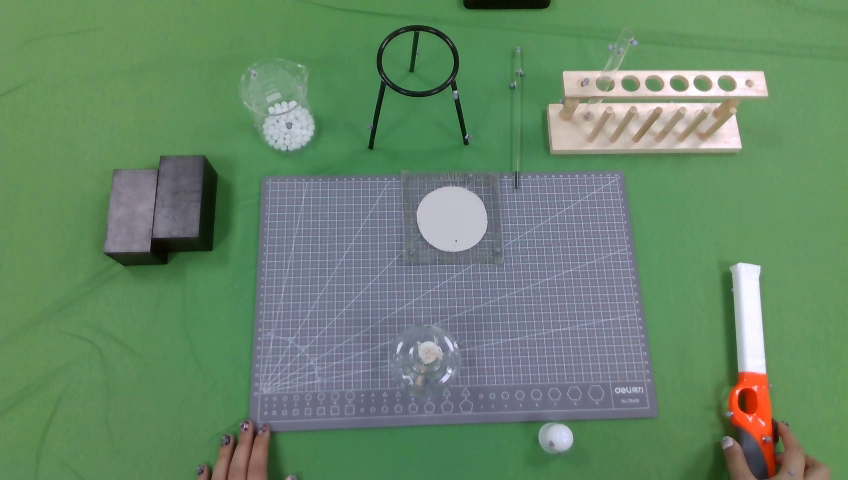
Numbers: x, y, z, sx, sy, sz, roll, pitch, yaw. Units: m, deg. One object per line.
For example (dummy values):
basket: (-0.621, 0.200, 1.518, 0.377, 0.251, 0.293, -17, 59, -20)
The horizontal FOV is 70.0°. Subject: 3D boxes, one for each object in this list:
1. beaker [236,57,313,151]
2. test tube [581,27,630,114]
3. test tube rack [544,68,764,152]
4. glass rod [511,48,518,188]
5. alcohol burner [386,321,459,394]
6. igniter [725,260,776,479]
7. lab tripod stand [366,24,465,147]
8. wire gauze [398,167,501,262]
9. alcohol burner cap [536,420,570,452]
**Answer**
beaker: (-0.170, -0.158, 0.718, 0.084, 0.101, 0.073, -39, 78, -14)
test tube: (0.207, -0.191, 0.702, 0.017, 0.151, 0.017, 0, 69, -1)
test tube rack: (0.279, -0.158, 0.746, 0.242, 0.085, 0.066, -1, 72, -3)
glass rod: (0.116, -0.160, 0.778, 0.008, 0.008, 0.198, 4, 74, -2)
alcohol burner: (-0.001, 0.120, 0.630, 0.078, 0.119, 0.077, 1, 71, -4)
igniter: (0.365, 0.157, 0.683, 0.057, 0.025, 0.275, 9, 73, -9)
lab tripod stand: (-0.013, -0.180, 0.714, 0.148, 0.132, 0.147, 0, 71, 0)
wire gauze: (0.030, -0.032, 0.734, 0.125, 0.011, 0.120, 0, 72, -1)
alcohol burner cap: (0.141, 0.209, 0.649, 0.034, 0.048, 0.033, 0, 70, -1)
